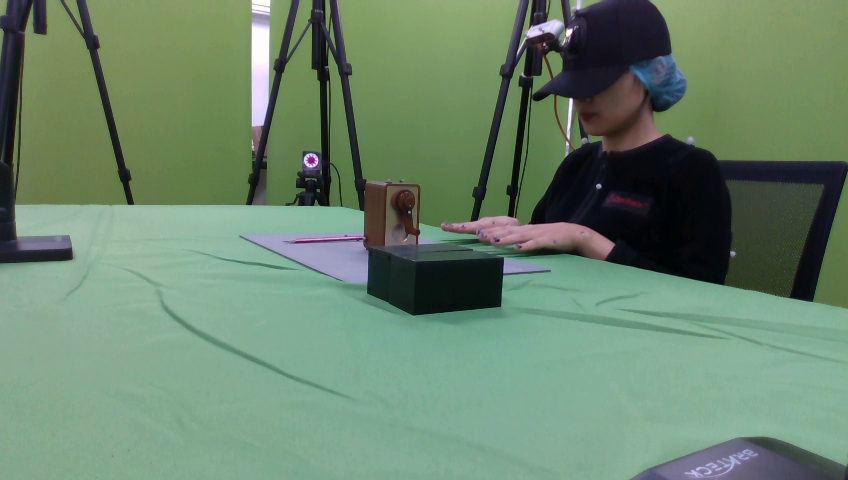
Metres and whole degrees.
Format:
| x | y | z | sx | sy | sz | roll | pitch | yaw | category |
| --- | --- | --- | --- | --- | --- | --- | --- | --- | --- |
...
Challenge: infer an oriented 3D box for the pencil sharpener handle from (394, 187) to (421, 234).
| x | y | z | sx | sy | sz | roll | pitch | yaw | category |
| --- | --- | --- | --- | --- | --- | --- | --- | --- | --- |
| -0.019 | -0.042 | 0.862 | 0.036 | 0.068 | 0.030 | -13 | 14 | -29 | pencil sharpener handle |

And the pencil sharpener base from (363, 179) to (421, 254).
| x | y | z | sx | sy | sz | roll | pitch | yaw | category |
| --- | --- | --- | --- | --- | --- | --- | --- | --- | --- |
| -0.048 | -0.036 | 0.906 | 0.062 | 0.107 | 0.076 | -1 | 8 | -31 | pencil sharpener base |

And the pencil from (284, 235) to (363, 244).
| x | y | z | sx | sy | sz | roll | pitch | yaw | category |
| --- | --- | --- | --- | --- | --- | --- | --- | --- | --- |
| -0.138 | -0.002 | 1.003 | 0.195 | 0.012 | 0.012 | -4 | 9 | -33 | pencil |
